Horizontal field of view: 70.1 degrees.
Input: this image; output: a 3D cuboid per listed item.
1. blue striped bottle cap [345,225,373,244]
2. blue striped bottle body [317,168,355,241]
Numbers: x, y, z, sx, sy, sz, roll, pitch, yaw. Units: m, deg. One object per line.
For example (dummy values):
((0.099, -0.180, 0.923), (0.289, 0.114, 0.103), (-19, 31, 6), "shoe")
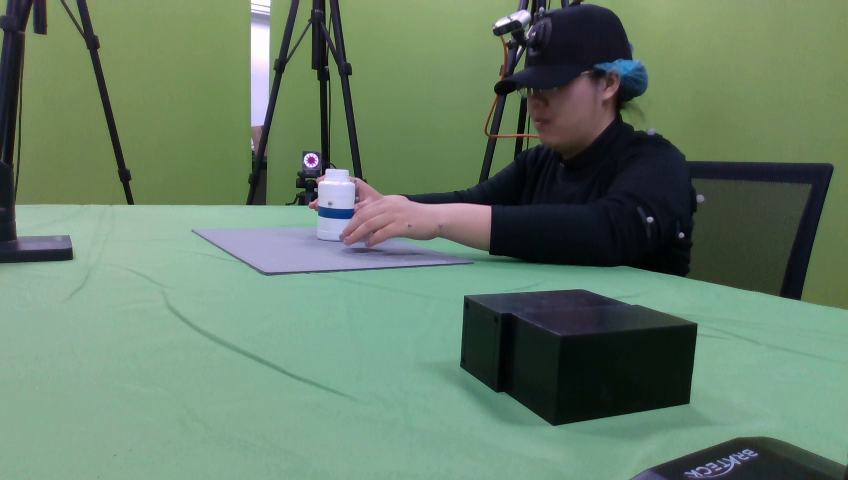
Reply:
((-0.099, -0.009, 0.928), (0.044, 0.020, 0.044), (3, 13, 0), "blue striped bottle cap")
((-0.149, -0.061, 1.024), (0.063, 0.120, 0.063), (3, 7, 0), "blue striped bottle body")
